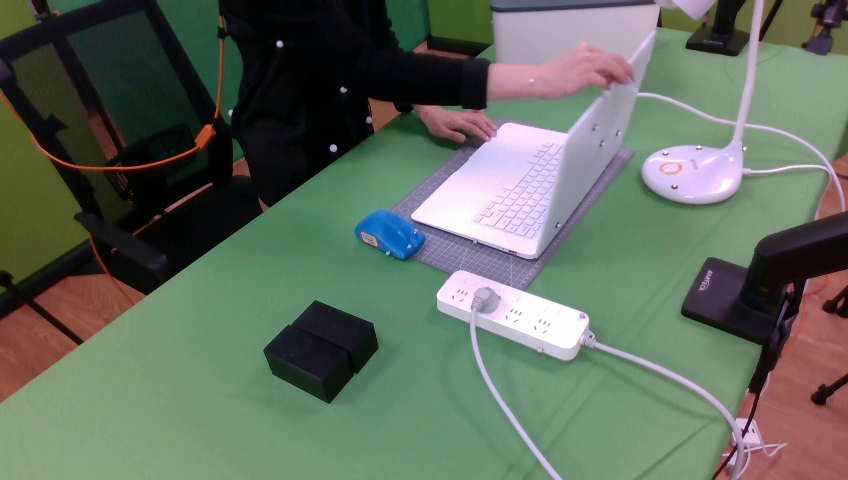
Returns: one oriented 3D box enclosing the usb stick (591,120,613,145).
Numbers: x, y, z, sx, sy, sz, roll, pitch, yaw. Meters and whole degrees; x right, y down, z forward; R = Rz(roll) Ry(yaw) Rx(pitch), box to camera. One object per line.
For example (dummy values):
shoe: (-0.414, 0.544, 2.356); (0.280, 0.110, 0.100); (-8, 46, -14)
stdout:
usb stick: (0.336, -0.201, 1.146); (0.021, 0.027, 0.059); (26, 53, 26)

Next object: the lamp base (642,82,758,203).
lamp base: (0.464, -0.174, 0.992); (0.179, 0.181, 0.159); (-5, 41, -1)

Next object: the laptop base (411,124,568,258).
laptop base: (0.168, -0.102, 1.073); (0.234, 0.023, 0.355); (17, 45, 31)

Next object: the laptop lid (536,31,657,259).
laptop lid: (0.270, -0.150, 0.933); (0.013, 0.242, 0.357); (26, 48, 21)

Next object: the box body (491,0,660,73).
box body: (0.347, -0.521, 1.429); (0.363, 0.161, 0.253); (1, 41, 9)

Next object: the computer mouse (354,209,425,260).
computer mouse: (-0.057, -0.012, 0.982); (0.116, 0.041, 0.063); (28, 49, 29)

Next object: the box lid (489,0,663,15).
box lid: (0.341, -0.576, 1.380); (0.371, 0.015, 0.262); (0, 41, 10)

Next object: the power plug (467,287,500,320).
power plug: (0.073, 0.092, 0.814); (0.035, 0.053, 0.073); (29, 54, 34)

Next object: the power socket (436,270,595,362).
power socket: (0.118, 0.101, 0.832); (0.225, 0.033, 0.072); (19, 48, 27)

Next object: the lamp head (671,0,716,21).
lamp head: (0.375, -0.373, 0.807); (0.122, 0.113, 0.112); (-40, 27, 32)
